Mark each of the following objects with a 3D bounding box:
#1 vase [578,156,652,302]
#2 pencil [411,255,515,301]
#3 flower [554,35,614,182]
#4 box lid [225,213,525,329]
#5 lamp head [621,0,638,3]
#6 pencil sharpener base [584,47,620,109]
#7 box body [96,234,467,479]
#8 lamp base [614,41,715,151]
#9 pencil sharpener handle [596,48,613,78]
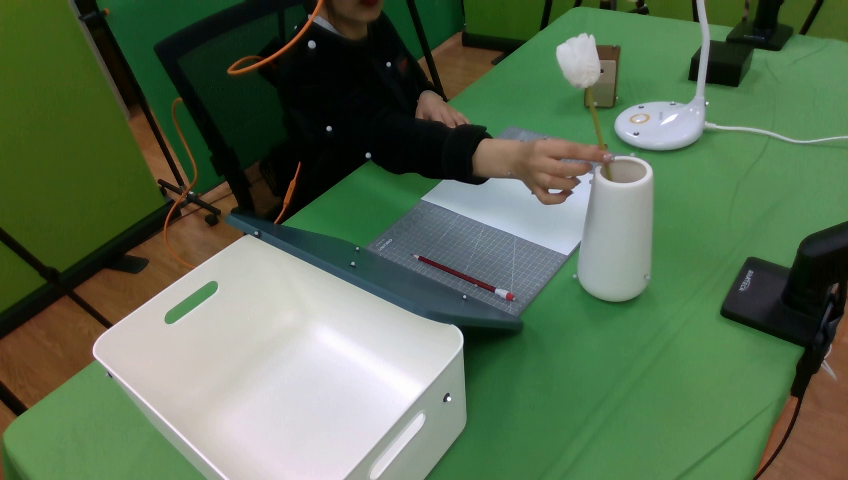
[{"bbox_3d":[0.261,-0.011,0.812,0.098,0.201,0.097,-4,40,4],"label":"vase"},{"bbox_3d":[0.054,0.054,0.918,0.192,0.012,0.012,21,49,33],"label":"pencil"},{"bbox_3d":[0.237,-0.083,0.774,0.044,0.363,0.038,-22,26,7],"label":"flower"},{"bbox_3d":[-0.066,0.042,0.816,0.368,0.265,0.015,22,93,32],"label":"box lid"},{"bbox_3d":[0.319,-0.453,0.962,0.113,0.123,0.112,20,33,-13],"label":"lamp head"},{"bbox_3d":[0.367,-0.336,1.248,0.061,0.107,0.076,6,42,19],"label":"pencil sharpener base"},{"bbox_3d":[-0.155,0.169,0.707,0.361,0.161,0.255,23,49,33],"label":"box body"},{"bbox_3d":[0.449,-0.277,1.106,0.179,0.181,0.160,1,41,9],"label":"lamp base"},{"bbox_3d":[0.383,-0.378,1.276,0.036,0.068,0.030,2,41,22],"label":"pencil sharpener handle"}]
